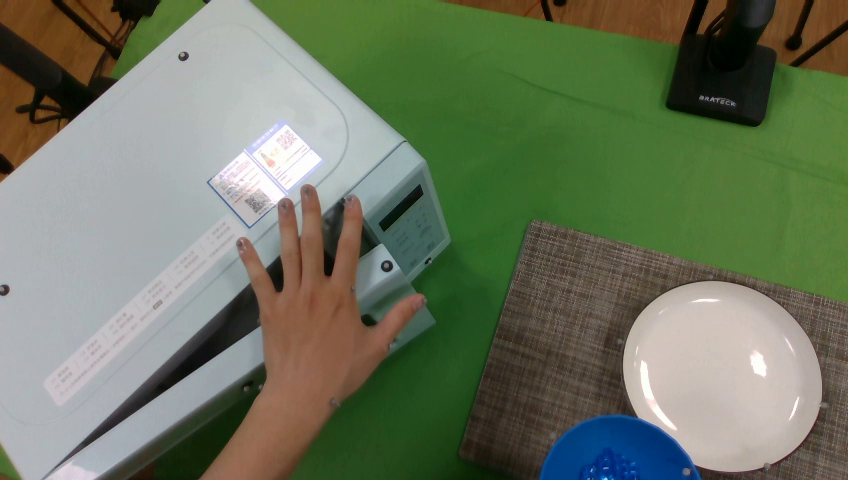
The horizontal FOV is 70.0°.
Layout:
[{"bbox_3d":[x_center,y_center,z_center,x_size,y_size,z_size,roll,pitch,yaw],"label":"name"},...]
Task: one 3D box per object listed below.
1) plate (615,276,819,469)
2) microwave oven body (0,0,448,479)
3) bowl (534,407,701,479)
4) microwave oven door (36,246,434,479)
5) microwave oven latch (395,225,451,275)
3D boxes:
[{"bbox_3d":[0.318,0.144,0.672,0.207,0.039,0.206,-2,72,7],"label":"plate"},{"bbox_3d":[-0.244,0.003,0.679,0.441,0.262,0.324,-45,72,-6],"label":"microwave oven body"},{"bbox_3d":[0.175,0.237,0.575,0.151,0.077,0.150,-1,73,2],"label":"bowl"},{"bbox_3d":[-0.159,0.146,0.616,0.356,0.245,0.039,-35,70,-4],"label":"microwave oven door"},{"bbox_3d":[-0.002,0.006,0.746,0.079,0.030,0.030,-43,72,-5],"label":"microwave oven latch"}]
